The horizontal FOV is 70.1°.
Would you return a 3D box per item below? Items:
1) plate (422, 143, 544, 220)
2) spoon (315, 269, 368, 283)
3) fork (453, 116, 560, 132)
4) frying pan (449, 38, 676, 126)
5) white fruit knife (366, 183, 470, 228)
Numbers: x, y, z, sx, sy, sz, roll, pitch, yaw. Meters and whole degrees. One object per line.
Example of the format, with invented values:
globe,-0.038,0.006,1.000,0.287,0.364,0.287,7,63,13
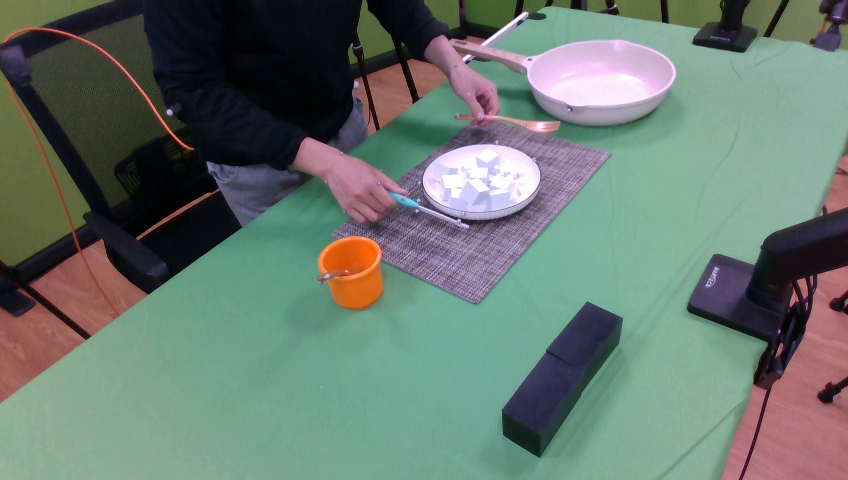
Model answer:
plate,0.102,-0.097,1.049,0.207,0.039,0.206,-4,40,4
spoon,-0.116,0.049,0.831,0.041,0.194,0.021,-3,85,9
fork,0.151,-0.221,1.136,0.206,0.019,0.028,13,31,19
frying pan,0.272,-0.362,1.287,0.485,0.103,0.307,23,48,19
white fruit knife,-0.013,-0.056,0.972,0.206,0.027,0.016,22,79,26
